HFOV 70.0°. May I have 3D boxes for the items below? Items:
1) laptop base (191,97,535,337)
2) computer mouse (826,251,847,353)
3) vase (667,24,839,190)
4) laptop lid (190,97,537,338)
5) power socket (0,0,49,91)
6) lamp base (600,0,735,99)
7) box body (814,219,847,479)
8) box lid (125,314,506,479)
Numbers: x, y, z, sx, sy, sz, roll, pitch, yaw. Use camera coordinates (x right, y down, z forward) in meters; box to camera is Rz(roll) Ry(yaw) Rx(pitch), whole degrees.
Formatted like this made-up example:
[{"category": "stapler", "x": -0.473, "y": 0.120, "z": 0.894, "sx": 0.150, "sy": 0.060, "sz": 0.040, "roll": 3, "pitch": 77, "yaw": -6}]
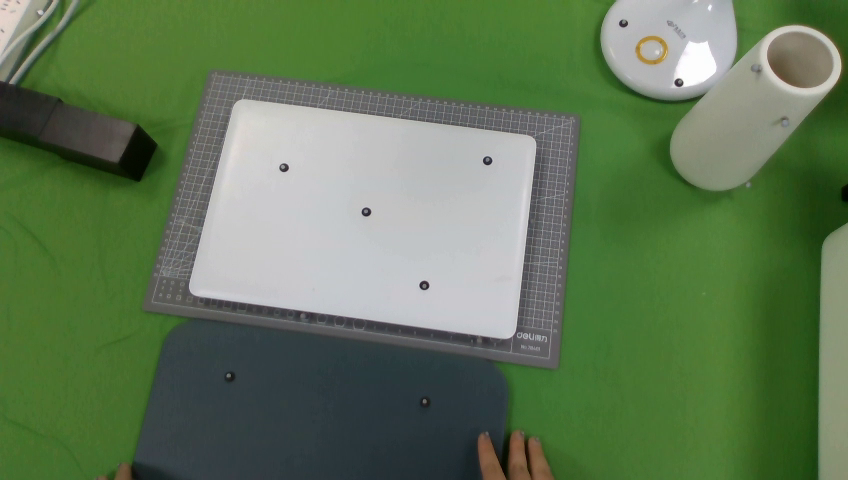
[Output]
[{"category": "laptop base", "x": -0.063, "y": -0.031, "z": 0.676, "sx": 0.354, "sy": 0.023, "sz": 0.234, "roll": 8, "pitch": 78, "yaw": 3}, {"category": "computer mouse", "x": 0.459, "y": 0.063, "z": 0.624, "sx": 0.063, "sy": 0.041, "sz": 0.116, "roll": 4, "pitch": 66, "yaw": 5}, {"category": "vase", "x": 0.318, "y": -0.126, "z": 0.605, "sx": 0.098, "sy": 0.201, "sz": 0.097, "roll": -1, "pitch": 72, "yaw": 3}, {"category": "laptop lid", "x": -0.063, "y": -0.031, "z": 0.664, "sx": 0.356, "sy": 0.013, "sz": 0.240, "roll": 9, "pitch": 77, "yaw": 4}, {"category": "power socket", "x": -0.532, "y": -0.240, "z": 0.735, "sx": 0.072, "sy": 0.033, "sz": 0.225, "roll": 16, "pitch": 74, "yaw": 4}, {"category": "lamp base", "x": 0.298, "y": -0.273, "z": 0.657, "sx": 0.160, "sy": 0.181, "sz": 0.179, "roll": 41, "pitch": 76, "yaw": 12}, {"category": "box body", "x": 0.514, "y": 0.148, "z": 0.542, "sx": 0.254, "sy": 0.161, "sz": 0.362, "roll": 10, "pitch": 74, "yaw": 4}, {"category": "box lid", "x": -0.113, "y": 0.224, "z": 0.610, "sx": 0.371, "sy": 0.015, "sz": 0.262, "roll": 8, "pitch": 74, "yaw": 3}]
